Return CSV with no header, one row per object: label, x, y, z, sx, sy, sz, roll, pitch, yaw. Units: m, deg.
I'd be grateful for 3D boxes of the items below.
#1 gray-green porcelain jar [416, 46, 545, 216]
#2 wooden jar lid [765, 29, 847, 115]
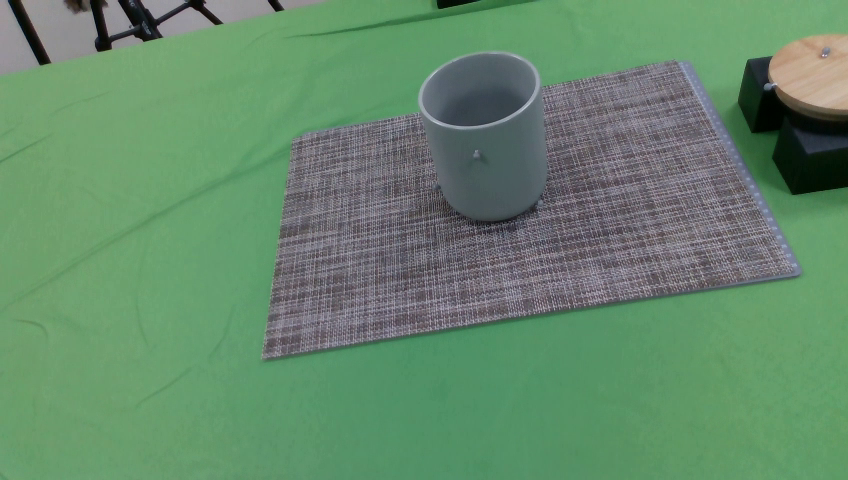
gray-green porcelain jar,0.056,-0.093,0.556,0.106,0.128,0.105,-7,50,9
wooden jar lid,0.358,-0.146,0.530,0.108,0.021,0.107,-7,51,10
